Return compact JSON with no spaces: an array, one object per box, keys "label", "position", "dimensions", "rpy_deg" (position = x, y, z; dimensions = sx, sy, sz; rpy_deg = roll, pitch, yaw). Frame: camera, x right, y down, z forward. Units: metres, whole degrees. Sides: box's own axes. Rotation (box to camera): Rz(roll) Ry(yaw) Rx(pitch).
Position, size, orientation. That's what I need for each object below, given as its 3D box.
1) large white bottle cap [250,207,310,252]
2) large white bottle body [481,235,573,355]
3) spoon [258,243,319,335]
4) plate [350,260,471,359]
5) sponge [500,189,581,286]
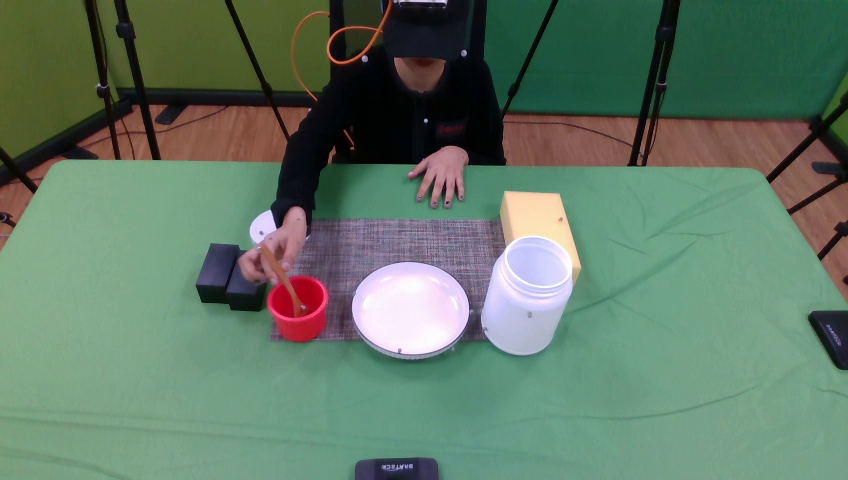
[{"label":"large white bottle cap","position":[-0.284,-0.022,1.197],"dimensions":[0.115,0.018,0.114],"rpy_deg":[1,46,-1]},{"label":"large white bottle body","position":[0.171,0.091,1.006],"dimensions":[0.131,0.185,0.130],"rpy_deg":[3,48,-3]},{"label":"spoon","position":[-0.218,0.080,0.982],"dimensions":[0.021,0.195,0.041],"rpy_deg":[14,46,40]},{"label":"plate","position":[-0.024,0.124,1.061],"dimensions":[0.209,0.038,0.208],"rpy_deg":[2,46,-2]},{"label":"sponge","position":[0.223,-0.007,1.192],"dimensions":[0.118,0.061,0.205],"rpy_deg":[1,47,-6]}]
